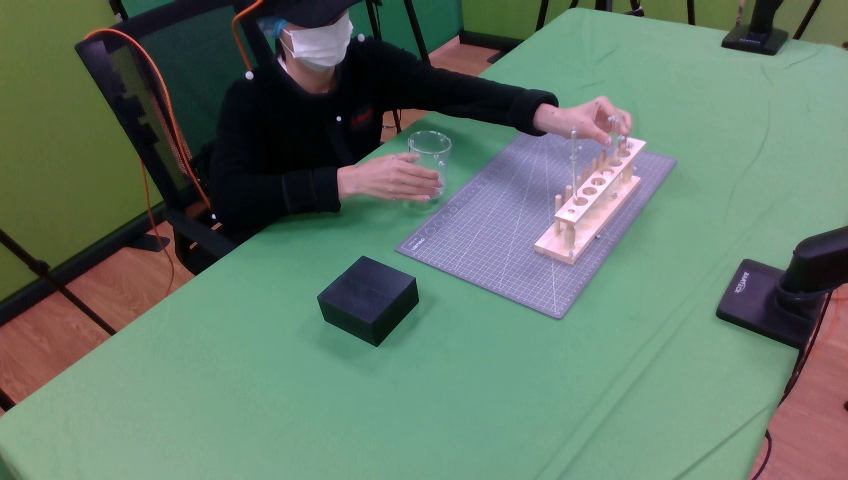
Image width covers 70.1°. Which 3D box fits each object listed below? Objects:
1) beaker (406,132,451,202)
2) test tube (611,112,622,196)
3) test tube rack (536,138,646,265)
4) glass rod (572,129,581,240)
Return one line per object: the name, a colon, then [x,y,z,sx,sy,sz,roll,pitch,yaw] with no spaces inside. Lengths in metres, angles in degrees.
beaker: [0.008,-0.124,1.036,0.073,0.100,0.084,29,44,26]
test tube: [0.301,-0.130,0.945,0.017,0.151,0.017,-9,39,7]
test tube rack: [0.268,-0.071,0.964,0.066,0.085,0.243,23,49,32]
glass rod: [0.220,-0.074,0.871,0.008,0.201,0.008,-8,42,8]
